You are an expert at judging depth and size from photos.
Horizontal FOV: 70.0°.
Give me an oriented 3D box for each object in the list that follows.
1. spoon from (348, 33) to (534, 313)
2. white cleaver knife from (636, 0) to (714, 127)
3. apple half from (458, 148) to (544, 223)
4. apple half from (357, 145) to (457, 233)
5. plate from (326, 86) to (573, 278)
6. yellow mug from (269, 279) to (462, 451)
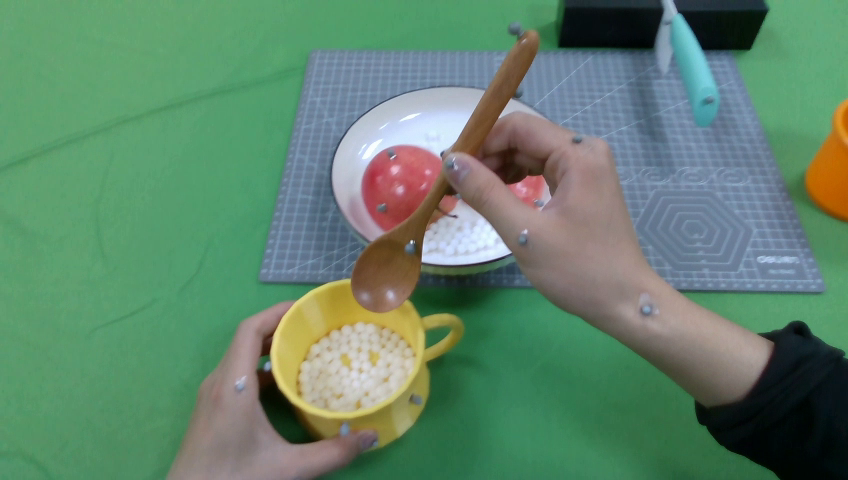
[{"bbox_3d":[0.007,-0.027,0.340,0.041,0.194,0.021,33,35,-1],"label":"spoon"},{"bbox_3d":[0.246,-0.209,0.613,0.021,0.066,0.283,-1,50,7],"label":"white cleaver knife"},{"bbox_3d":[0.066,-0.055,0.517,0.081,0.033,0.080,0,57,1],"label":"apple half"},{"bbox_3d":[-0.015,-0.048,0.503,0.081,0.054,0.074,-36,58,-21],"label":"apple half"},{"bbox_3d":[0.021,-0.052,0.524,0.209,0.038,0.207,-1,55,1],"label":"plate"},{"bbox_3d":[-0.035,0.081,0.418,0.131,0.064,0.099,-17,57,-12],"label":"yellow mug"}]
